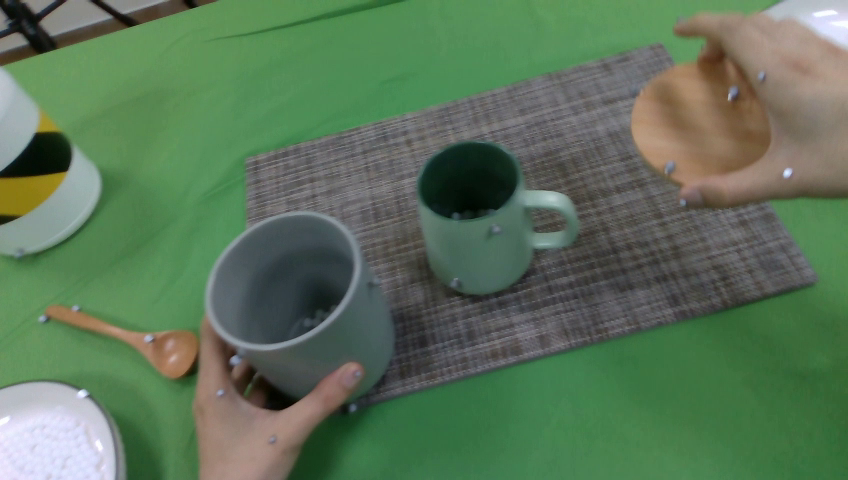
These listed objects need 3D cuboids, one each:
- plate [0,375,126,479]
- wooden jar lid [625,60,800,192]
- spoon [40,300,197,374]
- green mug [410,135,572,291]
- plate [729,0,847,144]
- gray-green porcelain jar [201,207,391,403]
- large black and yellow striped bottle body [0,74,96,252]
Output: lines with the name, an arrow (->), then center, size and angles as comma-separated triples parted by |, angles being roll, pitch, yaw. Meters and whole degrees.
plate -> -0.319, 0.206, 0.456 | 0.209, 0.038, 0.207 | -5, 56, 8
wooden jar lid -> 0.193, -0.076, 0.412 | 0.108, 0.021, 0.107 | -6, 62, 11
spoon -> -0.276, 0.077, 0.539 | 0.193, 0.022, 0.041 | 13, 79, 19
green mug -> 0.053, -0.018, 0.478 | 0.125, 0.106, 0.092 | 3, 57, 13
plate -> 0.385, -0.160, 0.544 | 0.207, 0.039, 0.205 | -6, 56, 9
gray-green porcelain jar -> -0.084, 0.055, 0.446 | 0.106, 0.128, 0.105 | -6, 56, 9
large black and yellow striped bottle body -> -0.429, -0.087, 0.579 | 0.130, 0.186, 0.129 | -5, 57, 9
